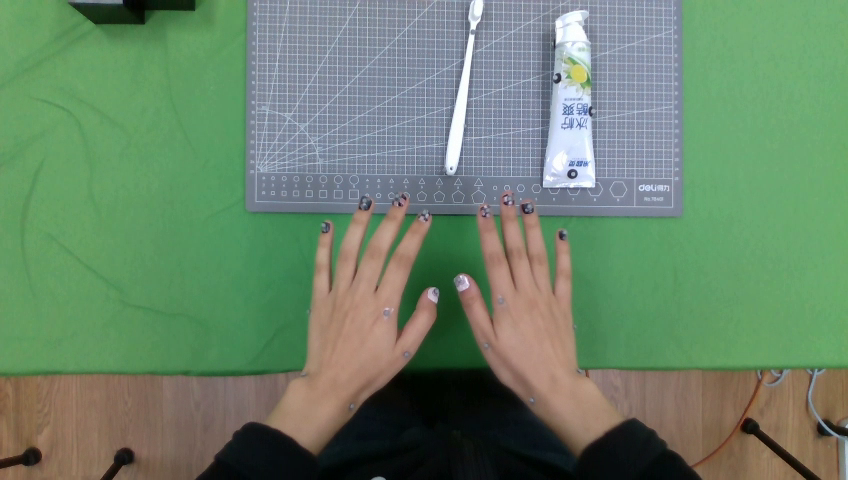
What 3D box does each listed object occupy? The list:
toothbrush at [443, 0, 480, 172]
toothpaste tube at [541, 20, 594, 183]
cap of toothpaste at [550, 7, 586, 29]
[{"bbox_3d":[0.039,-0.159,0.617,0.014,0.016,0.181,9,90,-17],"label":"toothbrush"},{"bbox_3d":[0.146,-0.142,0.619,0.055,0.034,0.165,-1,93,4],"label":"toothpaste tube"},{"bbox_3d":[0.146,-0.223,0.614,0.037,0.037,0.011,-12,86,-4],"label":"cap of toothpaste"}]
